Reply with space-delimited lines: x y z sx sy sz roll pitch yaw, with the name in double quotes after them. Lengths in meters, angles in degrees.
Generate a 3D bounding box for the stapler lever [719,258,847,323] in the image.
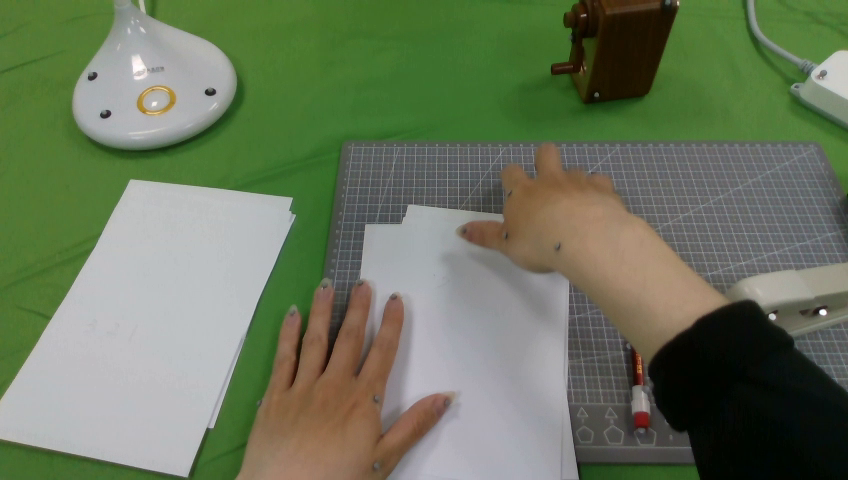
0.269 0.033 0.436 0.118 0.040 0.026 -13 56 -10 "stapler lever"

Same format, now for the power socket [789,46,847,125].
0.460 -0.110 0.560 0.072 0.033 0.224 -35 61 -22 "power socket"

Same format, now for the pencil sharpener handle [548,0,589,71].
0.132 -0.191 0.563 0.031 0.068 0.035 -9 33 -4 "pencil sharpener handle"

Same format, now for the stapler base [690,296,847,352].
0.268 0.048 0.455 0.131 0.024 0.041 -13 56 -10 "stapler base"

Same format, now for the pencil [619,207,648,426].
0.159 0.048 0.467 0.012 0.012 0.192 5 54 5 "pencil"

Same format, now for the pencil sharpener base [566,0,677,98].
0.181 -0.196 0.581 0.077 0.108 0.060 -9 55 -4 "pencil sharpener base"

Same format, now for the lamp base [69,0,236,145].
-0.279 -0.208 0.553 0.161 0.182 0.177 -26 56 -16 "lamp base"
